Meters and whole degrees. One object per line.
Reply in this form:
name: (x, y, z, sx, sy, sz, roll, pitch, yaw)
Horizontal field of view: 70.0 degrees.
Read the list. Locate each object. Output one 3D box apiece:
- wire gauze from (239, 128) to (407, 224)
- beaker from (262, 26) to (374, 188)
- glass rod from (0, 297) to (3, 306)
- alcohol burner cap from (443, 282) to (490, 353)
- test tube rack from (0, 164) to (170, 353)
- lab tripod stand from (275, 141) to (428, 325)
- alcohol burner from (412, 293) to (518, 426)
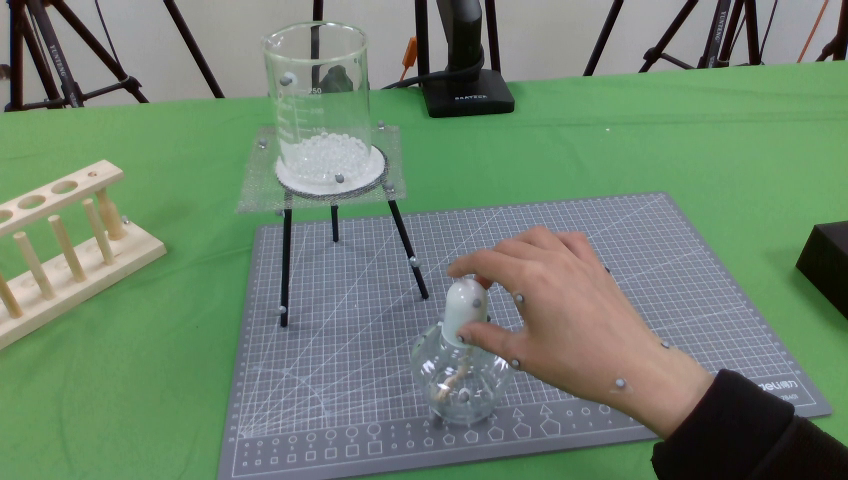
wire gauze: (-0.077, -0.057, 0.478, 0.121, 0.011, 0.123, -3, 41, -4)
beaker: (-0.078, -0.097, 0.449, 0.083, 0.101, 0.074, 20, 42, 22)
glass rod: (-0.379, -0.028, 0.488, 0.008, 0.201, 0.008, 0, 31, 0)
alcohol burner cap: (0.029, 0.049, 0.408, 0.034, 0.048, 0.033, 0, 41, 0)
test tube rack: (-0.355, 0.030, 0.522, 0.066, 0.086, 0.242, 26, 46, 30)
lab tripod stand: (-0.068, -0.008, 0.522, 0.148, 0.132, 0.147, 1, 37, 0)
alcohol burner: (0.029, 0.077, 0.430, 0.078, 0.120, 0.077, 0, 41, 0)
